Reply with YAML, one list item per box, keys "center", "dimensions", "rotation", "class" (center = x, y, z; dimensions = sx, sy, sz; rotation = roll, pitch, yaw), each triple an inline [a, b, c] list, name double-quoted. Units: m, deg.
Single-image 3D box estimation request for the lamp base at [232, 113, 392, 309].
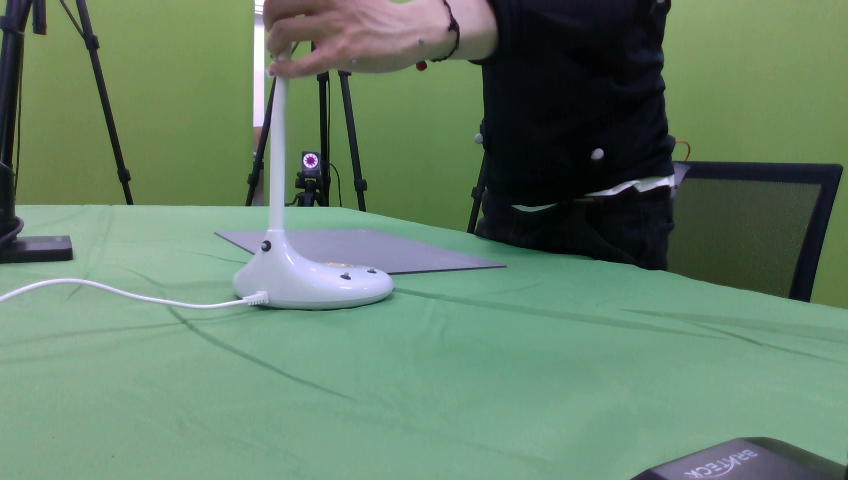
- center: [-0.114, -0.031, 0.594]
  dimensions: [0.160, 0.180, 0.179]
  rotation: [4, 10, 18]
  class: "lamp base"
